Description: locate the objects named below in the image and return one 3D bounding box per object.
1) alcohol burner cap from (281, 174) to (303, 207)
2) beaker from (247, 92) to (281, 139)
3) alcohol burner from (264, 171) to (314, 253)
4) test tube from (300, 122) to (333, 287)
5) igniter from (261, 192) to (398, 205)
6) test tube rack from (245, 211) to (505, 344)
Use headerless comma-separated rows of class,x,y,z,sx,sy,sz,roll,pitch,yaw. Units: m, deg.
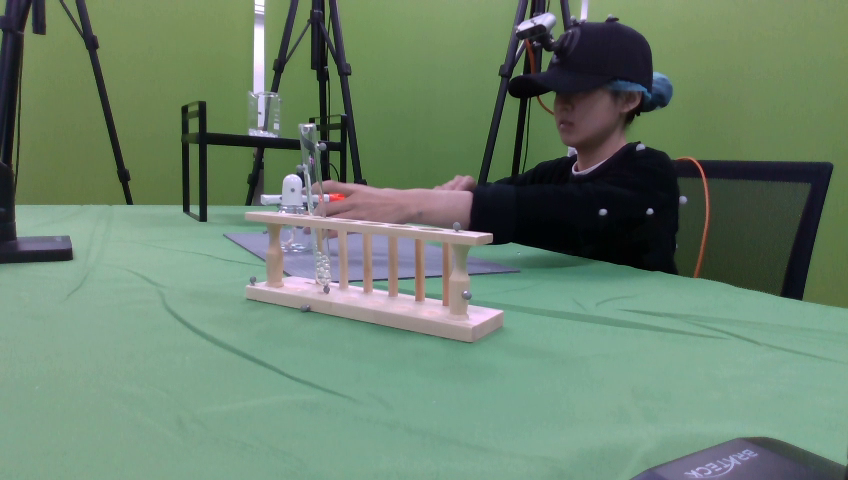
alcohol burner cap,-0.193,-0.072,0.884,0.034,0.048,0.034,0,5,0
beaker,-0.361,-0.280,1.359,0.074,0.100,0.084,4,8,8
alcohol burner,-0.194,-0.042,0.888,0.078,0.119,0.078,3,5,0
test tube,-0.096,-0.030,0.543,0.017,0.150,0.017,-3,14,1
igniter,-0.185,-0.083,1.217,0.278,0.025,0.057,-2,12,-25
test tube rack,-0.049,0.025,0.547,0.241,0.085,0.067,7,8,29
